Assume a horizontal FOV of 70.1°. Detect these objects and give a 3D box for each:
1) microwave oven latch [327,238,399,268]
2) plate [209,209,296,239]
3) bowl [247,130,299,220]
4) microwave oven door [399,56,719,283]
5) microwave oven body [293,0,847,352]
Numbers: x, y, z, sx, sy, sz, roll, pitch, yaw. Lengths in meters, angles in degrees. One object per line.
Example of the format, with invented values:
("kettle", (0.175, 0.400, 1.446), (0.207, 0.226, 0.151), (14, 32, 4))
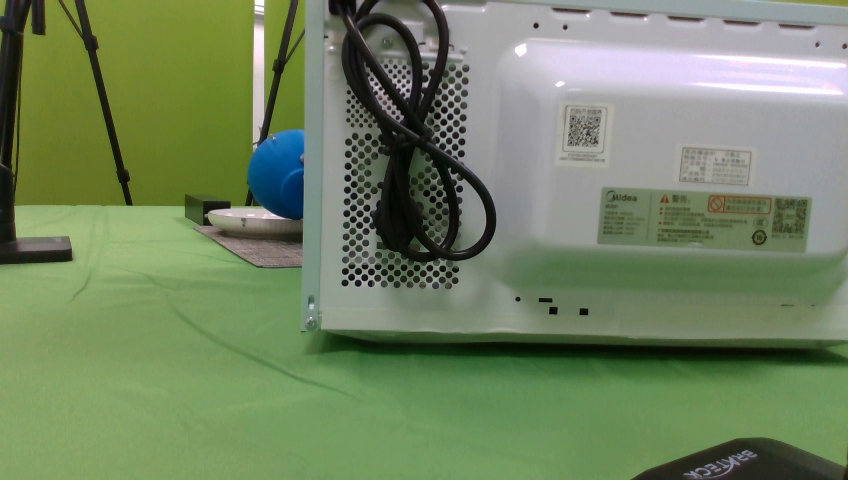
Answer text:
("microwave oven latch", (-0.069, 0.015, 0.694), (0.079, 0.029, 0.030), (3, 7, -3))
("plate", (-0.271, -0.029, 1.074), (0.208, 0.039, 0.207), (3, 7, 0))
("bowl", (-0.196, -0.089, 0.950), (0.152, 0.151, 0.076), (-1, 28, -25))
("microwave oven door", (0.155, -0.078, 0.698), (0.356, 0.243, 0.039), (2, 8, -5))
("microwave oven body", (0.122, -0.055, 0.550), (0.442, 0.260, 0.325), (3, 7, -5))
